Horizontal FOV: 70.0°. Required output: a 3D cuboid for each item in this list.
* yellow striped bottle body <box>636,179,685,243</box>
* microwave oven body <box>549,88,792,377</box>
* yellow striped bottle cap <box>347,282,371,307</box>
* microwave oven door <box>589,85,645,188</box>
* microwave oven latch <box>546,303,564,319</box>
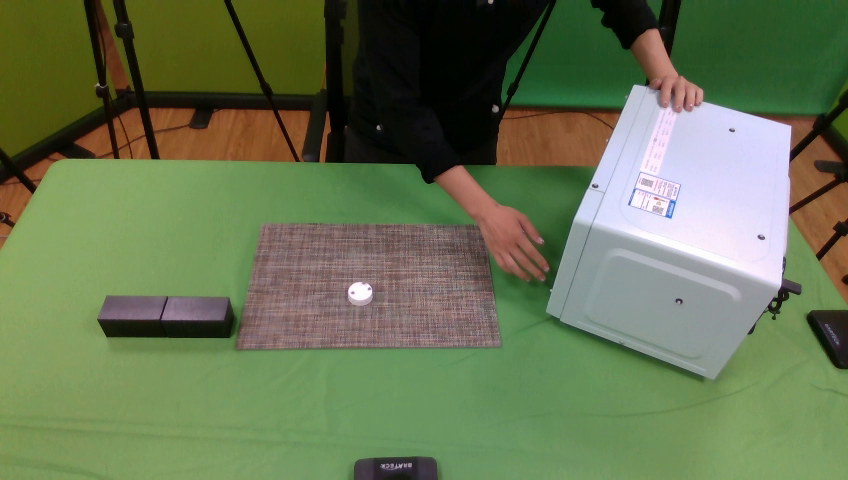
[{"bbox_3d":[0.443,-0.057,1.126,0.063,0.121,0.062,1,48,-1],"label":"yellow striped bottle body"},{"bbox_3d":[0.456,-0.028,1.088,0.325,0.261,0.440,20,47,16],"label":"microwave oven body"},{"bbox_3d":[-0.117,0.098,1.093,0.044,0.019,0.044,3,45,-3],"label":"yellow striped bottle cap"},{"bbox_3d":[0.341,-0.107,1.149,0.039,0.245,0.354,20,48,15],"label":"microwave oven door"},{"bbox_3d":[0.242,0.102,1.081,0.030,0.029,0.079,21,48,17],"label":"microwave oven latch"}]
